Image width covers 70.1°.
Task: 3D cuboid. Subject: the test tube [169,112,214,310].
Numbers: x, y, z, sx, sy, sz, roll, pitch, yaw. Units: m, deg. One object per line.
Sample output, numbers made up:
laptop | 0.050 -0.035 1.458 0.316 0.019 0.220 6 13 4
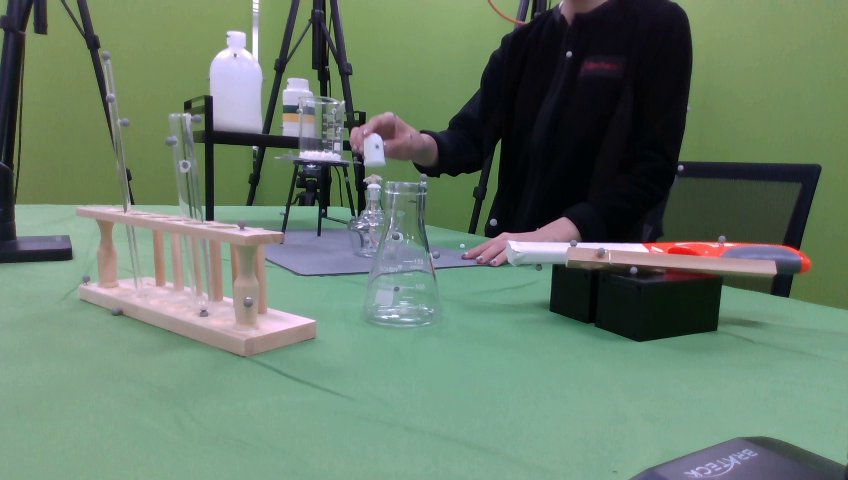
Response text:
test tube | -0.175 -0.020 0.455 0.017 0.150 0.017 -3 9 1

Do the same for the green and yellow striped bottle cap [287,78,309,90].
green and yellow striped bottle cap | -0.265 -0.326 1.268 0.045 0.020 0.045 4 6 0

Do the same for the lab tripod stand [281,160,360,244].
lab tripod stand | -0.170 -0.063 0.983 0.148 0.131 0.148 1 6 0

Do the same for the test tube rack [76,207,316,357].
test tube rack | -0.196 0.023 0.500 0.241 0.085 0.067 8 9 36

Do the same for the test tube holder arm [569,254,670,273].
test tube holder arm | 0.172 0.019 0.532 0.088 0.015 0.010 3 -23 4

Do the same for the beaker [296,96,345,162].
beaker | -0.163 -0.175 0.966 0.083 0.100 0.074 7 8 34

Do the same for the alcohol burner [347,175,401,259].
alcohol burner | -0.071 -0.034 0.867 0.078 0.119 0.078 0 7 0

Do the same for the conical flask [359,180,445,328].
conical flask | -0.017 0.010 0.522 0.075 0.122 0.075 2 7 0

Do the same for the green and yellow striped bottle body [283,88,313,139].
green and yellow striped bottle body | -0.266 -0.275 1.275 0.063 0.119 0.063 2 7 0

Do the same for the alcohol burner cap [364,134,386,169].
alcohol burner cap | -0.072 -0.127 0.861 0.034 0.048 0.034 -6 -3 0

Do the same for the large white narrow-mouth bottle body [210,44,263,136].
large white narrow-mouth bottle body | -0.369 -0.305 1.194 0.102 0.194 0.102 3 8 0

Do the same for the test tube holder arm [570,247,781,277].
test tube holder arm | 0.217 0.019 0.524 0.178 0.015 0.013 3 -23 3

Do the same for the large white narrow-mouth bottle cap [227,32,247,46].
large white narrow-mouth bottle cap | -0.364 -0.390 1.180 0.038 0.024 0.037 3 8 0

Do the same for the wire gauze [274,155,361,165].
wire gauze | -0.174 -0.129 0.978 0.125 0.011 0.121 -2 6 -19

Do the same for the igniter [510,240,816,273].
igniter | 0.220 0.015 0.566 0.277 0.025 0.057 2 16 0

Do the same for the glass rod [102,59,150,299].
glass rod | -0.244 -0.045 0.496 0.008 0.199 0.008 -3 13 1
